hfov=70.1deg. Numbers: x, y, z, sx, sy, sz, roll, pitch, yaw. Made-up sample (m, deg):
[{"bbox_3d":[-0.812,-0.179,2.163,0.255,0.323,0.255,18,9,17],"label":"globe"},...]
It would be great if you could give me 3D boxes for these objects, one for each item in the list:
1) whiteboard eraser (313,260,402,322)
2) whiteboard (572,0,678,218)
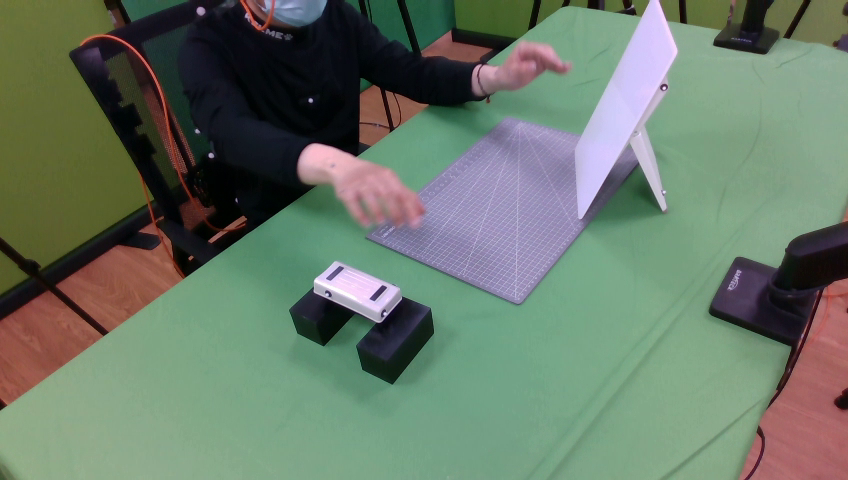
[{"bbox_3d":[-0.090,0.070,0.813,0.112,0.042,0.056,21,42,24],"label":"whiteboard eraser"},{"bbox_3d":[0.367,-0.188,0.964,0.144,0.305,0.216,17,42,-3],"label":"whiteboard"}]
